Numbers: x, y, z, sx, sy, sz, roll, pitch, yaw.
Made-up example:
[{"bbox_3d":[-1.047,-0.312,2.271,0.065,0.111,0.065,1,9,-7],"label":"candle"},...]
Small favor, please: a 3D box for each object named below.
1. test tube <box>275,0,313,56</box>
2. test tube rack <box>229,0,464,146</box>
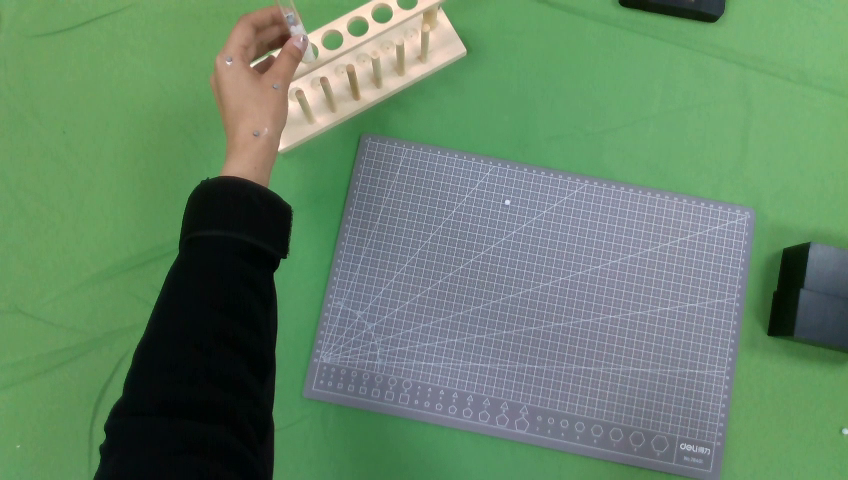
[{"bbox_3d":[-0.119,-0.200,0.546,0.017,0.150,0.017,0,85,-2],"label":"test tube"},{"bbox_3d":[-0.075,-0.198,0.653,0.242,0.085,0.066,-29,84,-4],"label":"test tube rack"}]
